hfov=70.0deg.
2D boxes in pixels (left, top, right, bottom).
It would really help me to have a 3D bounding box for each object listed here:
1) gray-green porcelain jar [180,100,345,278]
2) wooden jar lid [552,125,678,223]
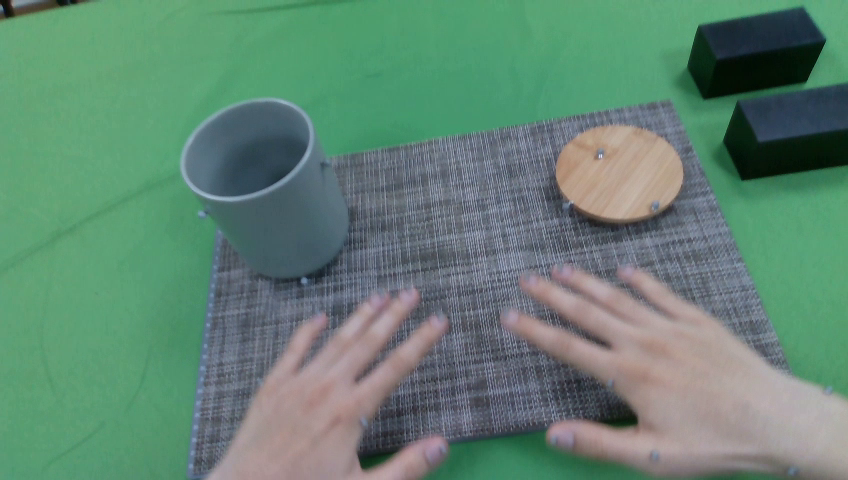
[{"bbox_3d":[-0.128,-0.036,0.514,0.106,0.128,0.105,-4,56,7],"label":"gray-green porcelain jar"},{"bbox_3d":[0.170,-0.058,0.545,0.108,0.021,0.107,-4,57,7],"label":"wooden jar lid"}]
